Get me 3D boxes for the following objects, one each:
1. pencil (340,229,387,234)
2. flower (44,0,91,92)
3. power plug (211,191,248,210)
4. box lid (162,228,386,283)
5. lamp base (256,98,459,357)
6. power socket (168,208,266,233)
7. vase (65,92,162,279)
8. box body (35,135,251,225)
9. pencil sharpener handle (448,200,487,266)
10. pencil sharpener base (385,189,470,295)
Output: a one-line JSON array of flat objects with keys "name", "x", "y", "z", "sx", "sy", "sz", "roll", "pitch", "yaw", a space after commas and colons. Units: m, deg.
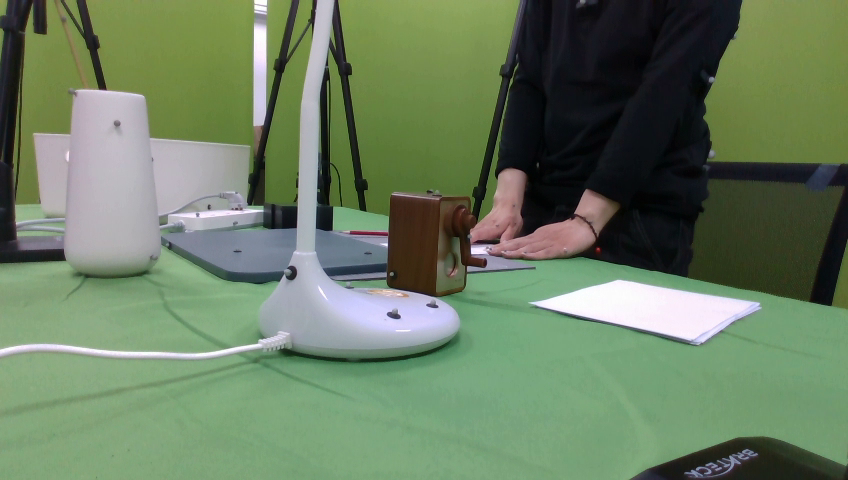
[{"name": "pencil", "x": -0.057, "y": -0.013, "z": 1.094, "sx": 0.195, "sy": 0.012, "sz": 0.012, "roll": 1, "pitch": 7, "yaw": -20}, {"name": "flower", "x": -0.361, "y": -0.142, "z": 0.663, "sx": 0.044, "sy": 0.361, "sz": 0.038, "roll": -12, "pitch": 11, "yaw": 30}, {"name": "power plug", "x": -0.384, "y": -0.071, "z": 1.205, "sx": 0.072, "sy": 0.052, "sz": 0.035, "roll": 1, "pitch": 8, "yaw": 28}, {"name": "box lid", "x": -0.200, "y": 0.014, "z": 0.861, "sx": 0.265, "sy": 0.015, "sz": 0.369, "roll": -4, "pitch": 10, "yaw": -35}, {"name": "lamp base", "x": -0.055, "y": -0.013, "z": 0.463, "sx": 0.160, "sy": 0.180, "sz": 0.180, "roll": 6, "pitch": 11, "yaw": 27}, {"name": "power socket", "x": -0.379, "y": -0.038, "z": 1.129, "sx": 0.072, "sy": 0.032, "sz": 0.227, "roll": 4, "pitch": 8, "yaw": 18}, {"name": "vase", "x": -0.347, "y": -0.060, "z": 0.673, "sx": 0.098, "sy": 0.200, "sz": 0.098, "roll": 1, "pitch": 7, "yaw": 0}, {"name": "box body", "x": -0.559, "y": -0.127, "z": 1.257, "sx": 0.253, "sy": 0.160, "sz": 0.365, "roll": 4, "pitch": 8, "yaw": 15}, {"name": "pencil sharpener handle", "x": 0.049, "y": -0.006, "z": 0.623, "sx": 0.030, "sy": 0.068, "sz": 0.036, "roll": 8, "pitch": 22, "yaw": 37}, {"name": "pencil sharpener base", "x": 0.006, "y": 0.001, "z": 0.653, "sx": 0.076, "sy": 0.107, "sz": 0.061, "roll": 8, "pitch": 9, "yaw": 37}]
